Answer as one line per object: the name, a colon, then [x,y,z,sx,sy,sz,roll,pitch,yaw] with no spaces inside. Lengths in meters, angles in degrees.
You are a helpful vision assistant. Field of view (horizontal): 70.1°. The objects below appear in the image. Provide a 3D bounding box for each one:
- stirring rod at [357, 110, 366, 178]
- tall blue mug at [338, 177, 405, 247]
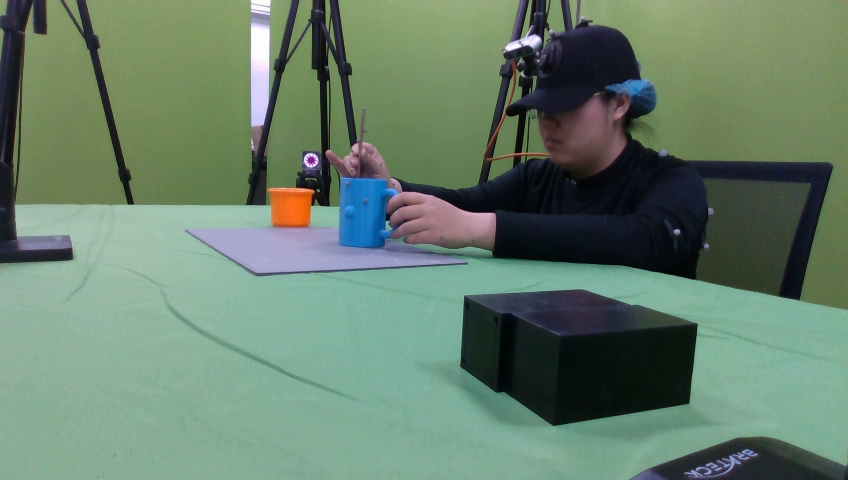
stirring rod: [-0.104,-0.124,0.975,0.006,0.176,0.014,5,-5,-6]
tall blue mug: [-0.083,-0.046,0.977,0.107,0.108,0.078,2,6,-1]
